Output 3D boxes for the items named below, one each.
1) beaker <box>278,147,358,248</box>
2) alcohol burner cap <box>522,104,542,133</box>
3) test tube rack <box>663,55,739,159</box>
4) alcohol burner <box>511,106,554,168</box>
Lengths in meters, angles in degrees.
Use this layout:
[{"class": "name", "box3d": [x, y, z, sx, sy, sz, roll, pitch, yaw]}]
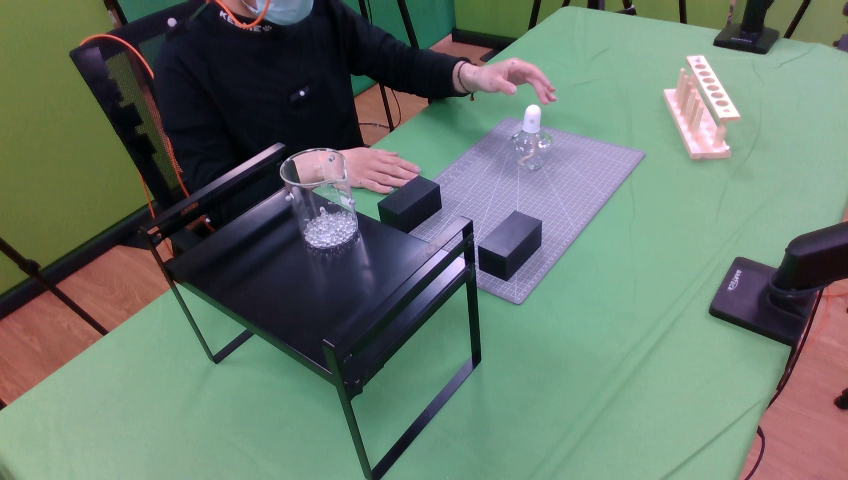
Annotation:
[{"class": "beaker", "box3d": [-0.117, -0.046, 0.705, 0.083, 0.101, 0.074, 17, 47, 25]}, {"class": "alcohol burner cap", "box3d": [0.191, -0.216, 1.065, 0.034, 0.048, 0.033, 0, 40, 0]}, {"class": "test tube rack", "box3d": [0.518, -0.256, 1.144, 0.066, 0.085, 0.241, -1, 41, 8]}, {"class": "alcohol burner", "box3d": [0.195, -0.190, 1.088, 0.078, 0.119, 0.077, -3, 42, 3]}]
